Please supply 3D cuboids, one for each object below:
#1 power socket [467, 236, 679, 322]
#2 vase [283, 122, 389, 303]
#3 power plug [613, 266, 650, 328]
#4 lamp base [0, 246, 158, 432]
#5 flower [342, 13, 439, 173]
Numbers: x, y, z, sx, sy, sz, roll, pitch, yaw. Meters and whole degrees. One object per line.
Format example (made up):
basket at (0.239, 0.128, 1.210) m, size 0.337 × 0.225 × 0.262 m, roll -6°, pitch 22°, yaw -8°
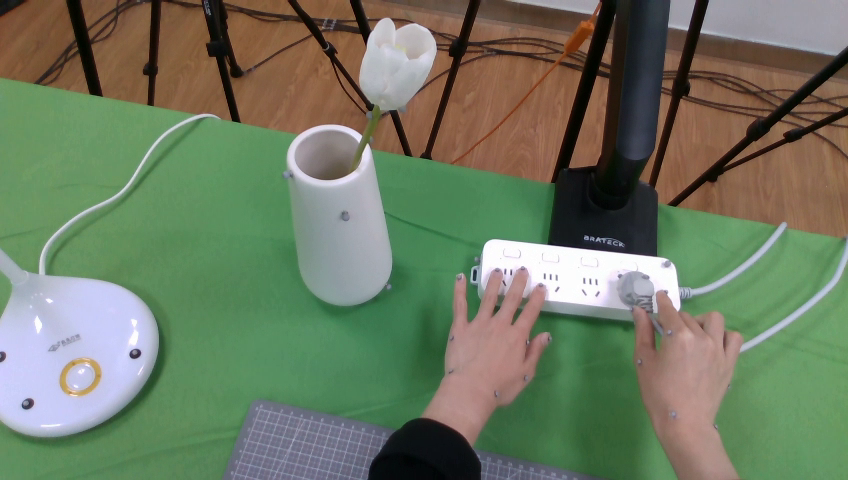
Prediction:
power socket at (0.160, 0.041, 0.653) m, size 0.227 × 0.033 × 0.071 m, roll 7°, pitch 58°, yaw 1°
vase at (-0.085, -0.020, 0.582) m, size 0.098 × 0.201 × 0.097 m, roll 0°, pitch 56°, yaw 0°
power plug at (0.208, 0.060, 0.617) m, size 0.035 × 0.053 × 0.072 m, roll 16°, pitch 64°, yaw 8°
lamp base at (-0.350, 0.058, 0.530) m, size 0.160 × 0.182 × 0.177 m, roll -38°, pitch 63°, yaw -24°
flower at (-0.065, -0.054, 0.507) m, size 0.044 × 0.362 × 0.038 m, roll -26°, pitch 79°, yaw -27°
